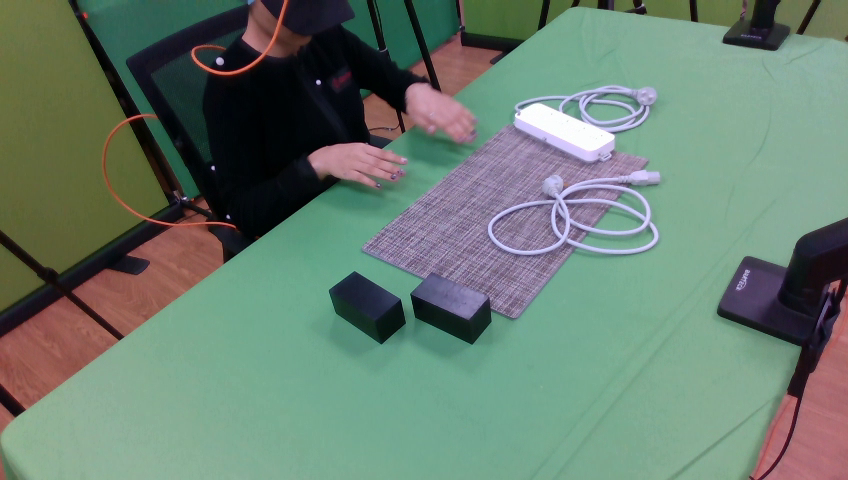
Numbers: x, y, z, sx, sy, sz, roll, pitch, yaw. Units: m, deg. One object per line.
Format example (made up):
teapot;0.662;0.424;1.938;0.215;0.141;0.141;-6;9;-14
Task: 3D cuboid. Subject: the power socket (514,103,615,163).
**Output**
power socket;0.268;-0.209;1.165;0.072;0.033;0.224;-30;44;-23

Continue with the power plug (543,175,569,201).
power plug;0.229;-0.080;1.024;0.053;0.035;0.072;1;48;-27
